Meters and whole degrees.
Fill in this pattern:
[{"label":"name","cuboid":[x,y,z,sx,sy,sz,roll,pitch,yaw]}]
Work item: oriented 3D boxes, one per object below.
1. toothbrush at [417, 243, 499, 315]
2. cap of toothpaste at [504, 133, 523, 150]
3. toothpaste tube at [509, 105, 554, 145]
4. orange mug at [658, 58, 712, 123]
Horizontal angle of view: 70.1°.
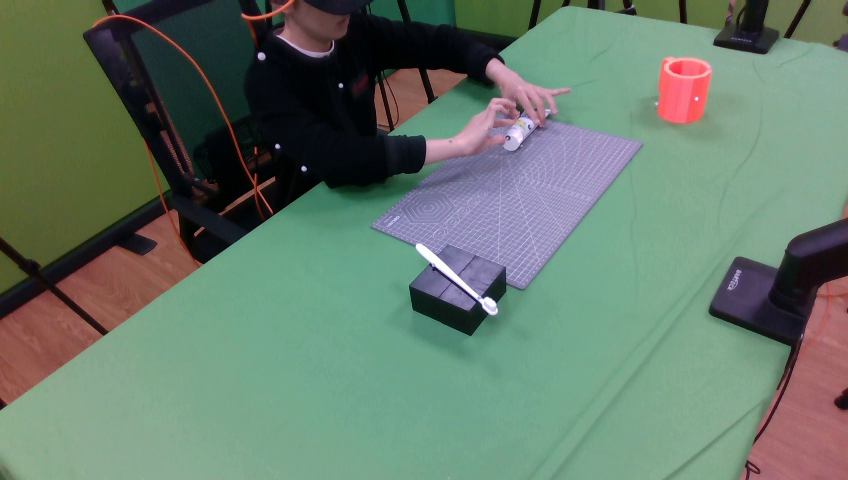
[{"label":"toothbrush","cuboid":[0.043,0.049,0.842,0.014,0.017,0.180,-31,45,-21]},{"label":"cap of toothpaste","cuboid":[0.170,-0.189,1.152,0.037,0.037,0.011,11,42,20]},{"label":"toothpaste tube","cuboid":[0.209,-0.232,1.207,0.055,0.034,0.165,19,43,20]},{"label":"orange mug","cuboid":[0.504,-0.304,1.193,0.083,0.101,0.125,-13,45,-5]}]
